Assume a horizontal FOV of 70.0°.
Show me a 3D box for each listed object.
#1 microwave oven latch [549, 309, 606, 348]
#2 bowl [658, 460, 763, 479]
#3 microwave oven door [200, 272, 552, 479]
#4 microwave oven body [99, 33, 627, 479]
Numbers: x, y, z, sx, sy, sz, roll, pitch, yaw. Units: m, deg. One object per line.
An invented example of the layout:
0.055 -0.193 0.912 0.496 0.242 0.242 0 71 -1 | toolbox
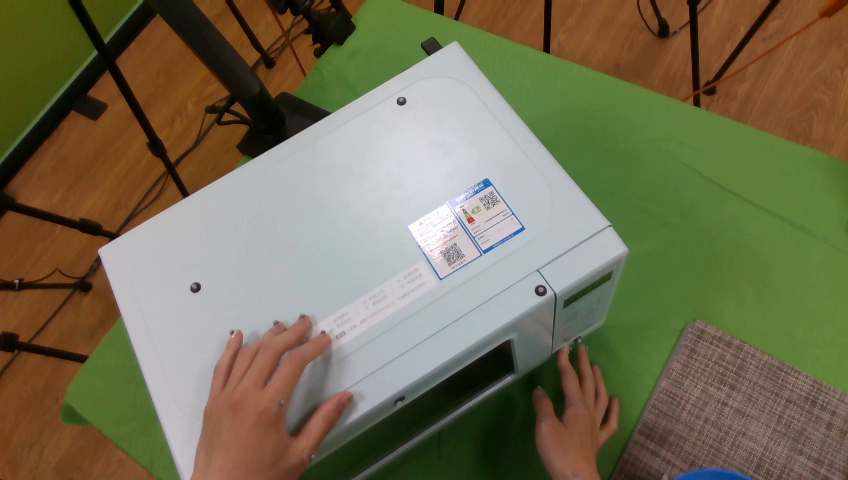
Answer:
0.180 0.097 0.730 0.079 0.030 0.030 -30 65 -3 | microwave oven latch
0.290 0.305 0.614 0.151 0.077 0.150 -4 66 9 | bowl
-0.025 0.170 0.623 0.356 0.246 0.039 -32 64 -4 | microwave oven door
-0.061 0.040 0.691 0.442 0.262 0.323 -32 66 -4 | microwave oven body
